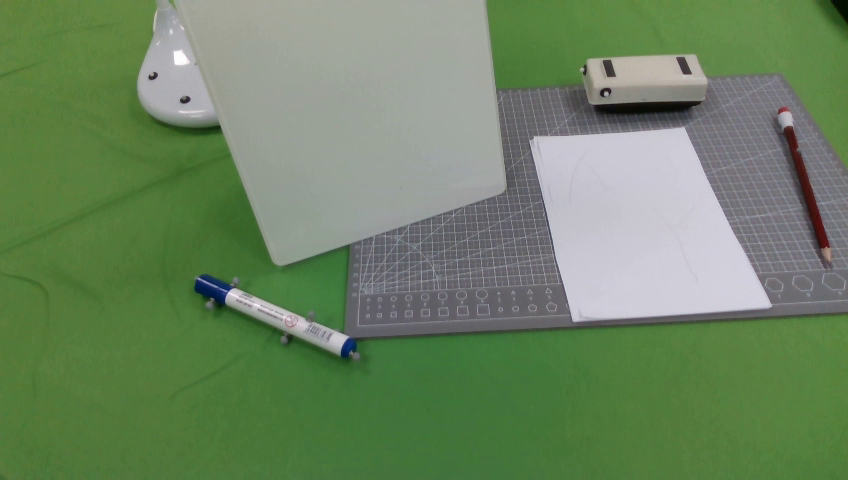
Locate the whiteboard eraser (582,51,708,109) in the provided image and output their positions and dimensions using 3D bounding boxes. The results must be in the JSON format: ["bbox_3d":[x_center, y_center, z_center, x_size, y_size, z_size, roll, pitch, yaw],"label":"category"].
[{"bbox_3d":[0.219,-0.160,0.608,0.112,0.042,0.055,-1,52,3],"label":"whiteboard eraser"}]

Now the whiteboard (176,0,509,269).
[{"bbox_3d":[-0.070,-0.168,0.501,0.217,0.308,0.142,-18,33,-10],"label":"whiteboard"}]

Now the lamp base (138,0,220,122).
[{"bbox_3d":[-0.244,-0.238,0.610,0.177,0.182,0.160,30,58,28],"label":"lamp base"}]

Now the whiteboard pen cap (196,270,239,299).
[{"bbox_3d":[-0.166,0.036,0.487,0.033,0.018,0.018,19,54,21],"label":"whiteboard pen cap"}]

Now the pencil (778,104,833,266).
[{"bbox_3d":[0.337,-0.055,0.536,0.012,0.012,0.192,5,53,8],"label":"pencil"}]

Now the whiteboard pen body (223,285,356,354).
[{"bbox_3d":[-0.114,0.057,0.468,0.140,0.017,0.017,19,54,19],"label":"whiteboard pen body"}]
